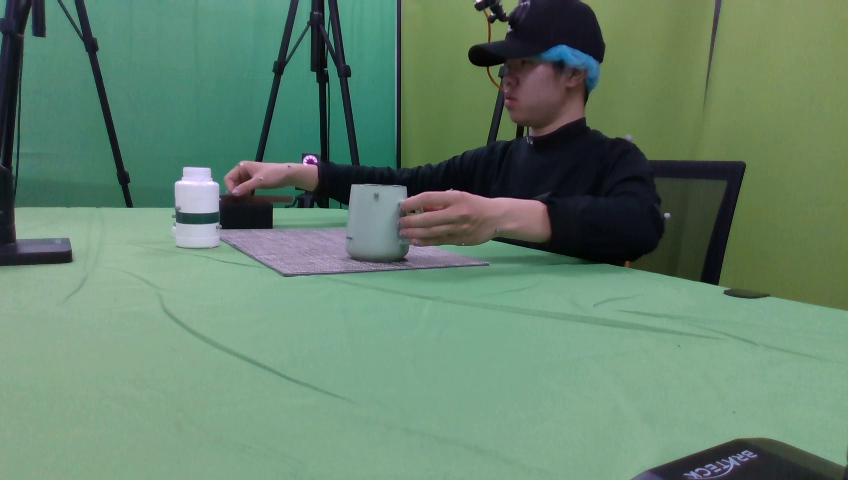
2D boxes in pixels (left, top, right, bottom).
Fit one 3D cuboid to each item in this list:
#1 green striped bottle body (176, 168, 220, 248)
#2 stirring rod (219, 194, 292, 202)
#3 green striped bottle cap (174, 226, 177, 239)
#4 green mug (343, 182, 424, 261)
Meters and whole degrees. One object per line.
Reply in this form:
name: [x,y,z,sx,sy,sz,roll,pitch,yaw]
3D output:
green striped bottle body: [-0.345,-0.050,0.924,0.063,0.119,0.063,2,7,0]
stirring rod: [-0.353,-0.085,1.217,0.177,0.014,0.006,-1,13,-27]
green striped bottle cap: [-0.404,-0.015,1.036,0.044,0.020,0.044,-1,9,0]
green mug: [-0.053,-0.026,0.849,0.125,0.105,0.093,7,9,33]
